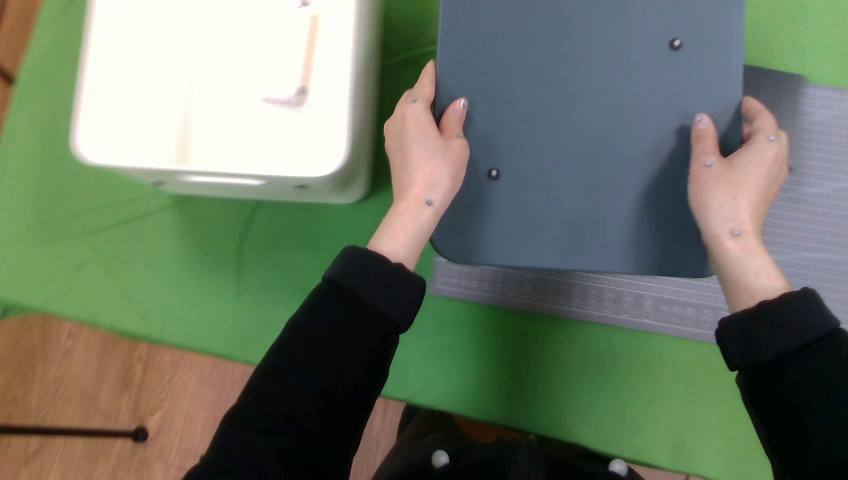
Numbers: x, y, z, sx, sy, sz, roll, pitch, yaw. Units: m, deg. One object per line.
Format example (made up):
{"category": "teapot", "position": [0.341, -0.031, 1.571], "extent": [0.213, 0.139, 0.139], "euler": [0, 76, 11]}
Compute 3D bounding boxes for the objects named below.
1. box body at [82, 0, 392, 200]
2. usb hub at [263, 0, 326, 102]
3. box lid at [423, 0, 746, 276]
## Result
{"category": "box body", "position": [-0.170, -0.232, 0.643], "extent": [0.254, 0.161, 0.363], "euler": [4, 82, 4]}
{"category": "usb hub", "position": [-0.150, -0.226, 0.704], "extent": [0.049, 0.025, 0.125], "euler": [9, 84, 3]}
{"category": "box lid", "position": [0.139, -0.157, 0.515], "extent": [0.263, 0.015, 0.371], "euler": [4, 88, 0]}
